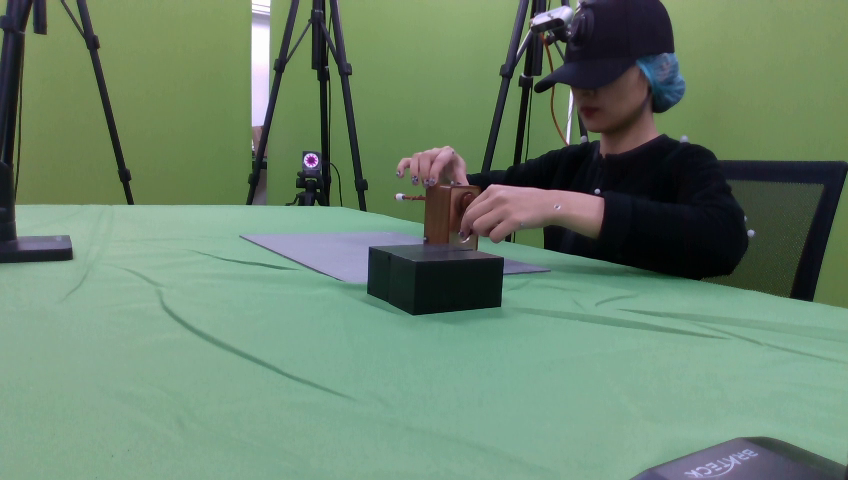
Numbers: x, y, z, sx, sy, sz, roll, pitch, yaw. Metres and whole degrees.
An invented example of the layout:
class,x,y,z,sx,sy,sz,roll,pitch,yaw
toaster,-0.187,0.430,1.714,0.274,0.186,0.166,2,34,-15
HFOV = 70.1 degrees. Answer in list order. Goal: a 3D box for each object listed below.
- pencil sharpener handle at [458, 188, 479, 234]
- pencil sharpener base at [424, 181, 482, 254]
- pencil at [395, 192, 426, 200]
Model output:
class,x,y,z,sx,sy,sz,roll,pitch,yaw
pencil sharpener handle,0.069,-0.042,0.890,0.036,0.067,0.030,18,-2,-33
pencil sharpener base,0.045,-0.036,0.936,0.062,0.107,0.076,-2,9,-32
pencil,0.001,-0.071,1.006,0.012,0.012,0.193,-2,7,-32
